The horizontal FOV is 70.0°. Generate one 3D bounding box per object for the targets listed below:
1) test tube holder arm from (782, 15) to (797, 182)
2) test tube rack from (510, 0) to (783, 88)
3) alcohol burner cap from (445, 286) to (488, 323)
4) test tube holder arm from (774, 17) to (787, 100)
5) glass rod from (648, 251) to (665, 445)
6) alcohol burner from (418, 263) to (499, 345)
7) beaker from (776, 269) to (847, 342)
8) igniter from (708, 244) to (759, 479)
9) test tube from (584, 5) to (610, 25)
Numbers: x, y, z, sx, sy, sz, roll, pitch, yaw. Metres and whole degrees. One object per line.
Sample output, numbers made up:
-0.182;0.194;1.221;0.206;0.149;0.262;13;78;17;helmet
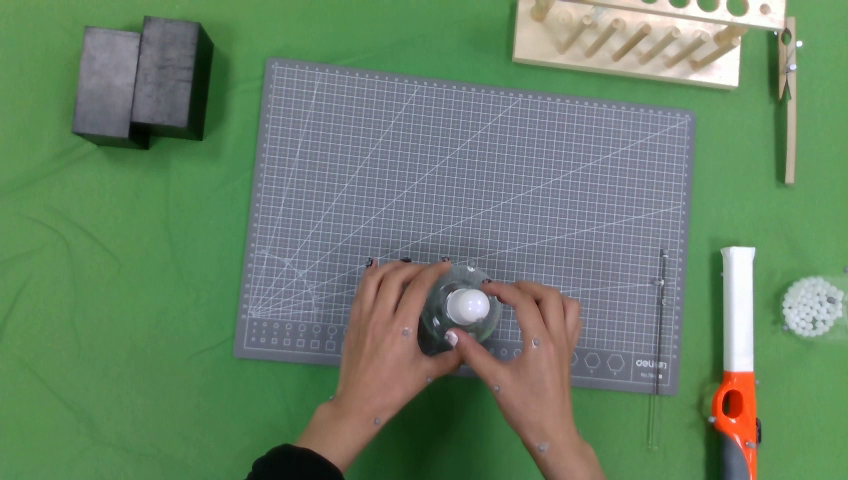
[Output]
0.393;-0.152;0.651;0.013;0.015;0.178;-4;86;31;test tube holder arm
0.216;-0.212;0.607;0.243;0.085;0.066;6;86;-5;test tube rack
0.039;0.055;0.522;0.034;0.048;0.034;1;83;-11;alcohol burner cap
0.387;-0.196;0.657;0.010;0.015;0.087;-3;87;31;test tube holder arm
0.240;0.111;0.626;0.008;0.008;0.199;5;86;-5;glass rod
0.034;0.058;0.557;0.078;0.119;0.077;1;84;-5;alcohol burner
0.412;0.062;0.602;0.074;0.100;0.084;19;84;-3;beaker
0.319;0.142;0.625;0.057;0.025;0.276;3;87;-15;igniter
0.184;-0.237;0.556;0.017;0.150;0.017;1;84;-11;test tube
